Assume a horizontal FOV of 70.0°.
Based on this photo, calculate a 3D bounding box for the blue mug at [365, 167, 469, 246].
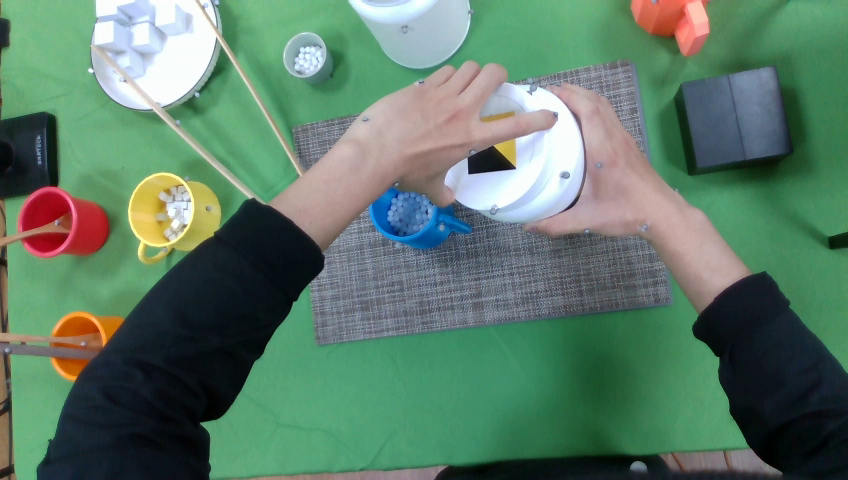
[{"bbox_3d":[-0.001,-0.033,0.732,0.116,0.106,0.082,18,89,13],"label":"blue mug"}]

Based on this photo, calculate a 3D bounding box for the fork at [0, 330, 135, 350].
[{"bbox_3d":[-0.501,0.131,0.808,0.209,0.018,0.028,8,84,-31],"label":"fork"}]

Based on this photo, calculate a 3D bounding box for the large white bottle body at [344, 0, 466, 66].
[{"bbox_3d":[-0.026,-0.302,0.722,0.130,0.185,0.130,-1,84,13],"label":"large white bottle body"}]

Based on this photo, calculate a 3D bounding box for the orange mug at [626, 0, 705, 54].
[{"bbox_3d":[0.289,-0.284,0.697,0.083,0.101,0.125,-18,77,11],"label":"orange mug"}]

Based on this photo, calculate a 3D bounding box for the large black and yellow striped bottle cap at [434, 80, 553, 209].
[{"bbox_3d":[0.059,-0.085,0.542,0.114,0.019,0.115,-1,88,35],"label":"large black and yellow striped bottle cap"}]

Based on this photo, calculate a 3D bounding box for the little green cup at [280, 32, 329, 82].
[{"bbox_3d":[-0.159,-0.245,0.822,0.061,0.039,0.061,-1,86,12],"label":"little green cup"}]

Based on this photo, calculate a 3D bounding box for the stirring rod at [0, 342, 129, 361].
[{"bbox_3d":[-0.490,0.148,0.807,0.006,0.177,0.014,-26,59,52],"label":"stirring rod"}]

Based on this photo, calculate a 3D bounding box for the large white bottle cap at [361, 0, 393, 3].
[{"bbox_3d":[-0.046,-0.309,0.640,0.114,0.018,0.114,-1,85,13],"label":"large white bottle cap"}]

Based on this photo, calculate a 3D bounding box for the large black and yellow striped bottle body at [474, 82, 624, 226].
[{"bbox_3d":[0.110,-0.083,0.609,0.130,0.185,0.130,-1,89,36],"label":"large black and yellow striped bottle body"}]

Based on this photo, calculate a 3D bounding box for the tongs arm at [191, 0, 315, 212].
[{"bbox_3d":[-0.247,-0.208,0.822,0.028,0.028,0.387,-32,86,-1],"label":"tongs arm"}]

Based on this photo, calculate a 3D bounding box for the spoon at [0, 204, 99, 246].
[{"bbox_3d":[-0.550,-0.007,0.833,0.194,0.022,0.041,-25,75,-36],"label":"spoon"}]

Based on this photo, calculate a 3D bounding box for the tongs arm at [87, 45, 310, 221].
[{"bbox_3d":[-0.310,-0.153,0.828,0.384,0.026,0.051,44,91,5],"label":"tongs arm"}]

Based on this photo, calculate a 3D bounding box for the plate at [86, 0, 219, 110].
[{"bbox_3d":[-0.386,-0.287,0.874,0.207,0.039,0.207,-1,86,12],"label":"plate"}]

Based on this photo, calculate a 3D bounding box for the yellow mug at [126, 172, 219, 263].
[{"bbox_3d":[-0.352,-0.025,0.832,0.099,0.064,0.131,31,93,12],"label":"yellow mug"}]
